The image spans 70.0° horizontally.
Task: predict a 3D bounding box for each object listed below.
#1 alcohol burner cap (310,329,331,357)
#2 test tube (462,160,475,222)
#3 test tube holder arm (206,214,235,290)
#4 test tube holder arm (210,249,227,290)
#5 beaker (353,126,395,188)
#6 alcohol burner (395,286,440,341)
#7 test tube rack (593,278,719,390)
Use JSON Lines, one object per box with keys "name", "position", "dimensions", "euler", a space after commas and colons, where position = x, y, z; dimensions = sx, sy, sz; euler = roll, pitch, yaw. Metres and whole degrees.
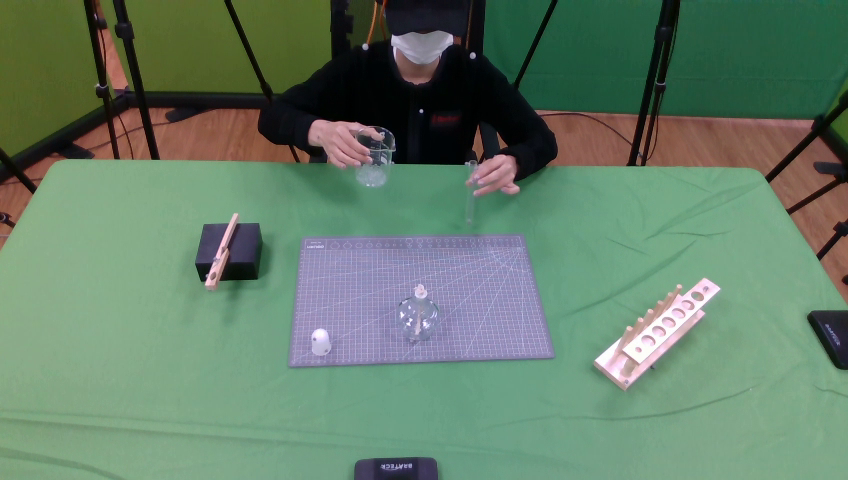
{"name": "alcohol burner cap", "position": [-0.173, 0.168, 1.005], "dimensions": [0.034, 0.048, 0.033], "euler": [2, 46, -2]}
{"name": "test tube", "position": [0.086, -0.091, 1.166], "dimensions": [0.017, 0.151, 0.017], "euler": [1, 45, 0]}
{"name": "test tube holder arm", "position": [-0.365, 0.017, 1.090], "dimensions": [0.013, 0.015, 0.177], "euler": [7, 45, -8]}
{"name": "test tube holder arm", "position": [-0.359, 0.050, 1.059], "dimensions": [0.010, 0.015, 0.087], "euler": [8, 45, -8]}
{"name": "beaker", "position": [-0.097, -0.156, 1.165], "dimensions": [0.084, 0.101, 0.074], "euler": [27, 47, 14]}
{"name": "alcohol burner", "position": [-0.010, 0.116, 1.018], "dimensions": [0.078, 0.119, 0.077], "euler": [3, 47, -3]}
{"name": "test tube rack", "position": [0.401, 0.148, 1.043], "dimensions": [0.242, 0.085, 0.066], "euler": [-30, 55, -29]}
